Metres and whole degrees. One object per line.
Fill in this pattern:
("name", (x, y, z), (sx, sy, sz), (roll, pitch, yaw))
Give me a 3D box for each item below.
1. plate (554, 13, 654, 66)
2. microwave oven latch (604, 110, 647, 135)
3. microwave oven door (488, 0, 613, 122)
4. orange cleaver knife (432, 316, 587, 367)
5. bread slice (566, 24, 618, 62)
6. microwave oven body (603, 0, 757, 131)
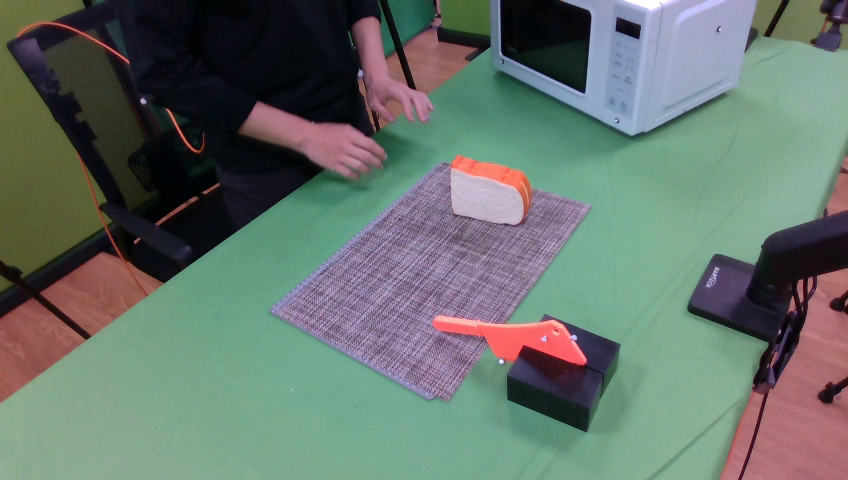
("plate", (0.386, -0.427, 1.307), (0.207, 0.039, 0.206), (-4, 44, 5))
("microwave oven latch", (0.378, -0.225, 1.139), (0.030, 0.029, 0.078), (-27, 43, -20))
("microwave oven door", (0.250, -0.412, 1.219), (0.039, 0.245, 0.352), (-27, 44, -21))
("orange cleaver knife", (0.101, 0.127, 0.761), (0.210, 0.077, 0.012), (-1, 34, 40))
("bread slice", (0.362, -0.430, 1.320), (0.107, 0.018, 0.134), (1, 50, 9))
("microwave oven body", (0.396, -0.448, 1.248), (0.327, 0.261, 0.437), (-27, 44, -21))
